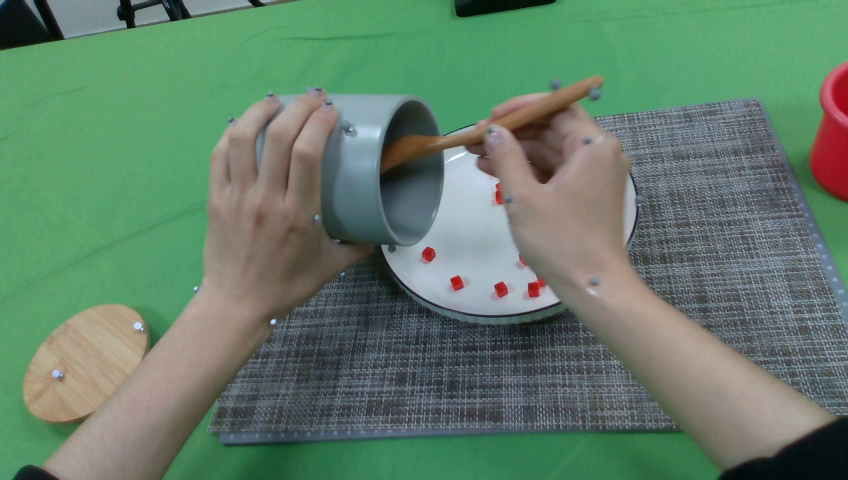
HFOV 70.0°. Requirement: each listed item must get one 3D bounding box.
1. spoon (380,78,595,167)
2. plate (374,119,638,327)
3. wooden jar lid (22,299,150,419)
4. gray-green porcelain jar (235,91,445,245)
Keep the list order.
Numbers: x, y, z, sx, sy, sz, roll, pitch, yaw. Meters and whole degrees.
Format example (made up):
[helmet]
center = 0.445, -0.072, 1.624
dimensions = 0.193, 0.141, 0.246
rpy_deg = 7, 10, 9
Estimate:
[spoon]
center = 0.023, -0.071, 0.396
dimensions = 0.193, 0.022, 0.041
rpy_deg = -9, 40, 38
[plate]
center = 0.063, -0.016, 0.493
dimensions = 0.207, 0.039, 0.205
rpy_deg = -7, 51, 9
[wooden jar lid]
center = -0.278, 0.099, 0.506
dimensions = 0.108, 0.021, 0.107
rpy_deg = -6, 52, 8
[gray-green porcelain jar]
center = -0.063, -0.055, 0.443
dimensions = 0.126, 0.107, 0.105
rpy_deg = 7, 55, 24
